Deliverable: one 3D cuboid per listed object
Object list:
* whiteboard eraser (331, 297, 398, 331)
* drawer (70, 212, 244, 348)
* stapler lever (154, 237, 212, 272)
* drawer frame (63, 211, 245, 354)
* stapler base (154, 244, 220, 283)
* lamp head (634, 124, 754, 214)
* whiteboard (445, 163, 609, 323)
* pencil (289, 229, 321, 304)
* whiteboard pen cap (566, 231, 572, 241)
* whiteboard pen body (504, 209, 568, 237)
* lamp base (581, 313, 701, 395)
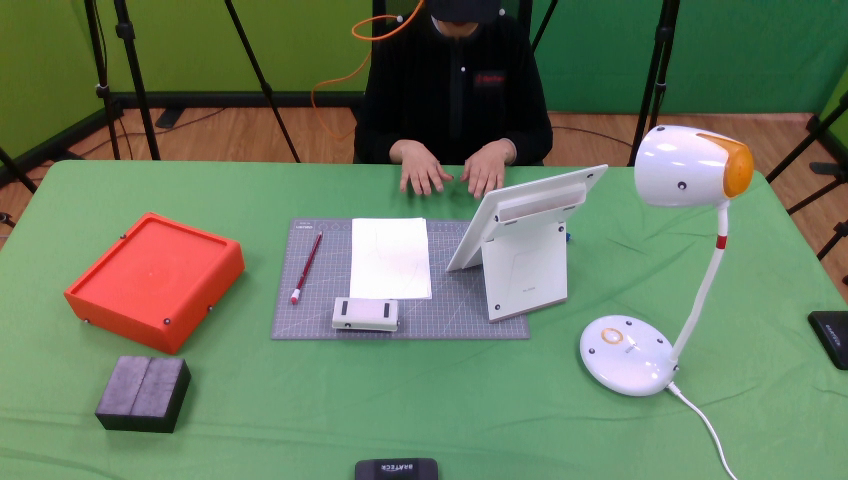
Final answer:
[{"bbox_3d":[-0.102,0.130,1.046,0.113,0.042,0.055,3,45,-2],"label":"whiteboard eraser"},{"bbox_3d":[-0.458,0.065,1.060,0.194,0.073,0.211,18,48,12],"label":"drawer"},{"bbox_3d":[-0.434,0.021,1.091,0.118,0.040,0.027,23,45,15],"label":"stapler lever"},{"bbox_3d":[-0.459,0.067,1.056,0.201,0.083,0.212,17,48,11],"label":"drawer frame"},{"bbox_3d":[-0.434,0.038,1.107,0.130,0.024,0.041,21,45,17],"label":"stapler base"},{"bbox_3d":[0.351,-0.089,0.775,0.112,0.113,0.122,-30,30,-28],"label":"lamp head"},{"bbox_3d":[0.187,0.026,1.028,0.217,0.306,0.143,-13,68,-17],"label":"whiteboard"},{"bbox_3d":[-0.221,0.045,1.141,0.012,0.012,0.193,8,44,4],"label":"pencil"},{"bbox_3d":[0.282,-0.012,1.230,0.033,0.018,0.018,24,49,15],"label":"whiteboard pen cap"},{"bbox_3d":[0.230,-0.034,1.248,0.140,0.017,0.017,23,49,15],"label":"whiteboard pen body"},{"bbox_3d":[0.361,0.144,0.973,0.178,0.181,0.160,34,53,23],"label":"lamp base"}]
